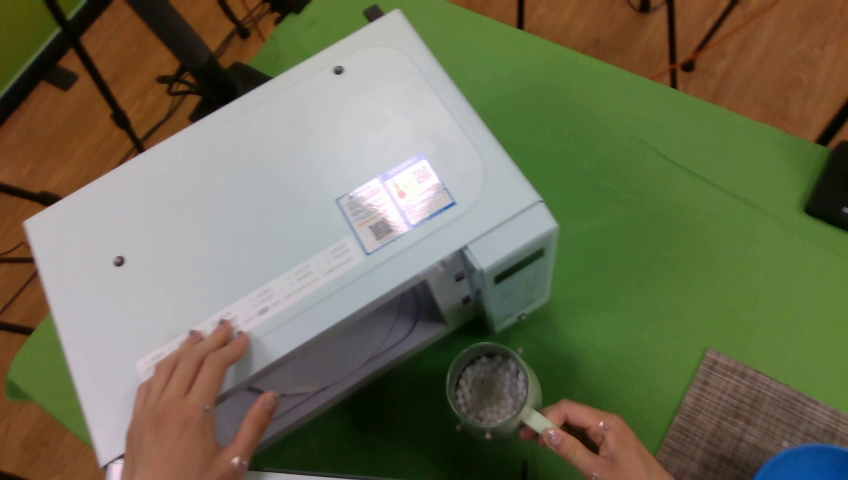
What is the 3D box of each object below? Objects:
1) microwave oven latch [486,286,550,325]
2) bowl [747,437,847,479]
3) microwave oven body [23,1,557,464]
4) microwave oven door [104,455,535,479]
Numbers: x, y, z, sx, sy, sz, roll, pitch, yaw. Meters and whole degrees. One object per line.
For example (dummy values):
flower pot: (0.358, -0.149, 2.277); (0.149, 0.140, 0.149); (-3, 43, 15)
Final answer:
microwave oven latch: (0.112, 0.069, 0.723); (0.079, 0.030, 0.030); (-30, 68, -2)
bowl: (0.383, 0.274, 0.593); (0.151, 0.077, 0.150); (-3, 68, 8)
microwave oven body: (-0.128, 0.012, 0.678); (0.442, 0.262, 0.323); (-32, 68, -3)
microwave oven door: (-0.071, 0.235, 0.576); (0.355, 0.245, 0.039); (1, 70, 9)
